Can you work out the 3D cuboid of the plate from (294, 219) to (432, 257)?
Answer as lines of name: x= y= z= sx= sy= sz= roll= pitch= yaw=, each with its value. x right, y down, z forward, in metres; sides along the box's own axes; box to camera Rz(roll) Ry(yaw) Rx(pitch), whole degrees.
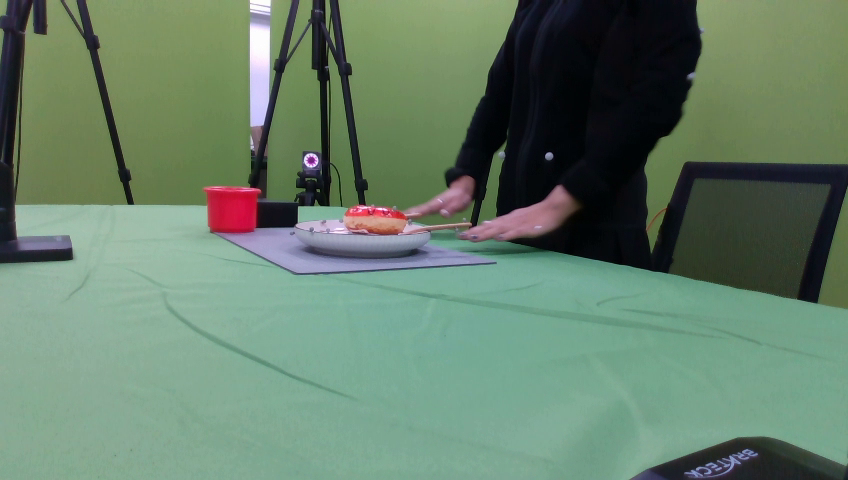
plate: x=-0.092 y=-0.004 z=0.924 sx=0.209 sy=0.038 sz=0.209 roll=2 pitch=7 yaw=0

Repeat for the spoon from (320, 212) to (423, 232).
spoon: x=-0.083 y=-0.028 z=1.005 sx=0.194 sy=0.021 sz=0.041 roll=-17 pitch=19 yaw=-30

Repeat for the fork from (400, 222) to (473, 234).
fork: x=-0.016 y=-0.007 z=0.887 sx=0.208 sy=0.018 sz=0.028 roll=-14 pitch=0 yaw=-27

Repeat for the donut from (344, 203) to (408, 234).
donut: x=-0.074 y=-0.031 z=0.931 sx=0.099 sy=0.048 sz=0.099 roll=4 pitch=3 yaw=0

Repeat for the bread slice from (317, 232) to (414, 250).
bread slice: x=-0.093 y=0.000 z=0.915 sx=0.132 sy=0.019 sz=0.104 roll=0 pitch=6 yaw=-26
